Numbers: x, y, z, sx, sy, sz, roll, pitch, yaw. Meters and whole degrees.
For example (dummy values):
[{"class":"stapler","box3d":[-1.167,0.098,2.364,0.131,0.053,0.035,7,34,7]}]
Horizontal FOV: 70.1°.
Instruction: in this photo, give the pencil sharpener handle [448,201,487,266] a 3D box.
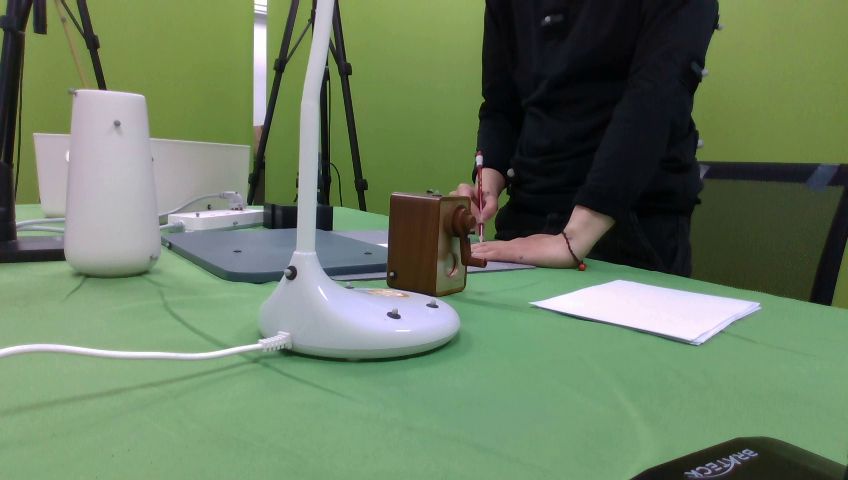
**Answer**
[{"class":"pencil sharpener handle","box3d":[0.049,-0.006,0.623,0.030,0.068,0.036,8,22,37]}]

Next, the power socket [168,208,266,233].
[{"class":"power socket","box3d":[-0.379,-0.038,1.129,0.072,0.032,0.227,4,8,18]}]

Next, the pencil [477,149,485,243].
[{"class":"pencil","box3d":[0.099,-0.078,1.050,0.012,0.193,0.012,1,-29,1]}]

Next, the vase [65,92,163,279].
[{"class":"vase","box3d":[-0.347,-0.060,0.673,0.098,0.200,0.098,1,7,0]}]

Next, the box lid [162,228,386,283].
[{"class":"box lid","box3d":[-0.200,0.014,0.861,0.265,0.015,0.369,-4,10,-35]}]

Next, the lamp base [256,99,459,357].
[{"class":"lamp base","box3d":[-0.055,-0.013,0.463,0.160,0.180,0.180,6,11,27]}]

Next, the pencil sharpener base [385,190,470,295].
[{"class":"pencil sharpener base","box3d":[0.006,0.001,0.653,0.076,0.107,0.061,8,9,37]}]

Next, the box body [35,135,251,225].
[{"class":"box body","box3d":[-0.559,-0.127,1.257,0.253,0.160,0.365,4,8,15]}]

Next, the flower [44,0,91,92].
[{"class":"flower","box3d":[-0.361,-0.142,0.663,0.044,0.361,0.038,-12,11,30]}]

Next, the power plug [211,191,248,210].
[{"class":"power plug","box3d":[-0.384,-0.071,1.205,0.072,0.052,0.035,1,8,28]}]
